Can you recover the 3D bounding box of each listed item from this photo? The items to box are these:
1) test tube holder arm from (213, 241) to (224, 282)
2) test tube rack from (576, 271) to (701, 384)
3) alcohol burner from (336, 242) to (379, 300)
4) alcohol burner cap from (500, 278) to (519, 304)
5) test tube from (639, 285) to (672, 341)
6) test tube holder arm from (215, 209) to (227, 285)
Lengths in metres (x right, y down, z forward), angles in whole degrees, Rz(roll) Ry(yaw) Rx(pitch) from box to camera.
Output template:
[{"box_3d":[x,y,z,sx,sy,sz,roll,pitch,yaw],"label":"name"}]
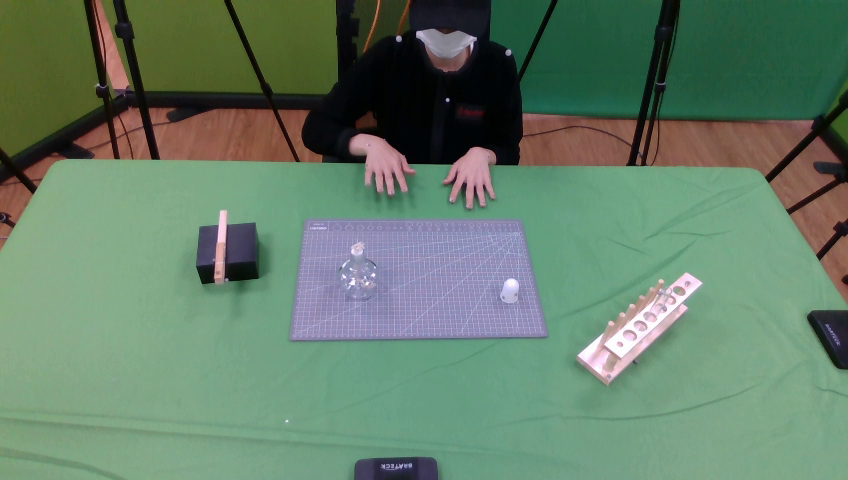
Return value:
[{"box_3d":[-0.359,0.037,1.061,0.015,0.010,0.087,-6,47,-9],"label":"test tube holder arm"},{"box_3d":[0.373,0.138,1.047,0.242,0.085,0.066,-31,56,-29],"label":"test tube rack"},{"box_3d":[-0.118,0.050,1.072,0.078,0.120,0.077,2,44,-1],"label":"alcohol burner"},{"box_3d":[0.157,0.090,1.104,0.034,0.048,0.033,2,46,-2],"label":"alcohol burner cap"},{"box_3d":[0.374,0.123,0.994,0.017,0.151,0.017,1,50,-1],"label":"test tube"},{"box_3d":[-0.367,0.008,1.095,0.015,0.013,0.177,-6,48,-9],"label":"test tube holder arm"}]
